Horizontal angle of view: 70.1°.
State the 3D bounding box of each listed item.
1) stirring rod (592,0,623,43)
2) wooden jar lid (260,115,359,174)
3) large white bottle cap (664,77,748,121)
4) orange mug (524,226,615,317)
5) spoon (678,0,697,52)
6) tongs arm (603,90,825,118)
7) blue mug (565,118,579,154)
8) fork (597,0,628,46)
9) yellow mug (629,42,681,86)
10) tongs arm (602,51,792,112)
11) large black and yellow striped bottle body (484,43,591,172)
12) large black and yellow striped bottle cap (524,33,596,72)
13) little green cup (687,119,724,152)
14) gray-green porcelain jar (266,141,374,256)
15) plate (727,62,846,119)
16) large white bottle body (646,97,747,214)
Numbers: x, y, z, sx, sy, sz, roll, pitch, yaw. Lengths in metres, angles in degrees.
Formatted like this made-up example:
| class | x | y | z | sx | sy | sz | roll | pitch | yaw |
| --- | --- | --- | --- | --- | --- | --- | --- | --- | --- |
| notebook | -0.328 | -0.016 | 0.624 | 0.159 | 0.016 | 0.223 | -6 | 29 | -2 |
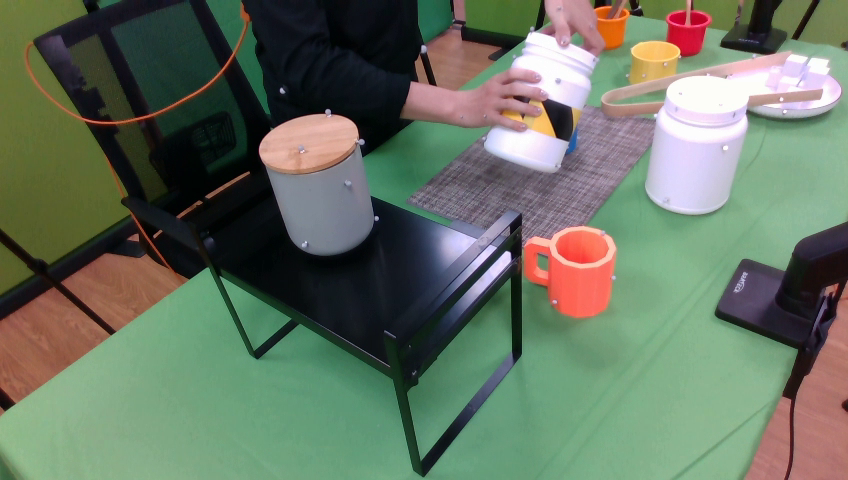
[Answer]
| class | x | y | z | sx | sy | sz | roll | pitch | yaw |
| --- | --- | --- | --- | --- | --- | --- | --- | --- | --- |
| stirring rod | 0.460 | -0.557 | 1.461 | 0.014 | 0.176 | 0.006 | 35 | 11 | 23 |
| wooden jar lid | -0.124 | -0.101 | 0.662 | 0.108 | 0.021 | 0.108 | -4 | 41 | 4 |
| large white bottle cap | 0.421 | -0.212 | 0.905 | 0.115 | 0.018 | 0.114 | -4 | 40 | 4 |
| orange mug | 0.201 | 0.039 | 0.845 | 0.125 | 0.101 | 0.083 | 18 | 47 | 21 |
| spoon | 0.614 | -0.526 | 1.402 | 0.041 | 0.022 | 0.193 | 3 | 86 | 11 |
| tongs arm | 0.546 | -0.262 | 1.163 | 0.386 | 0.028 | 0.028 | -1 | 49 | 18 |
| blue mug | 0.233 | -0.218 | 1.127 | 0.117 | 0.106 | 0.081 | -23 | 43 | -16 |
| fork | 0.479 | -0.558 | 1.455 | 0.028 | 0.019 | 0.207 | 35 | 100 | 38 |
| yellow mug | 0.495 | -0.389 | 1.321 | 0.100 | 0.064 | 0.130 | -14 | 40 | -7 |
| tongs arm | 0.552 | -0.320 | 1.223 | 0.384 | 0.027 | 0.050 | -10 | 44 | 7 |
| large black and yellow striped bottle body | 0.185 | -0.213 | 0.967 | 0.131 | 0.184 | 0.130 | 17 | 15 | -4 |
| large black and yellow striped bottle cap | 0.213 | -0.293 | 0.944 | 0.115 | 0.019 | 0.114 | 21 | 16 | -6 |
| little green cup | 0.514 | -0.191 | 1.109 | 0.061 | 0.039 | 0.061 | -5 | 40 | 5 |
| gray-green porcelain jar | -0.117 | -0.054 | 0.703 | 0.106 | 0.127 | 0.105 | -4 | 40 | 4 |
| plate | 0.710 | -0.292 | 1.197 | 0.207 | 0.039 | 0.206 | -4 | 40 | 4 |
| large white bottle body | 0.431 | -0.148 | 0.959 | 0.130 | 0.185 | 0.130 | -4 | 41 | 4 |
